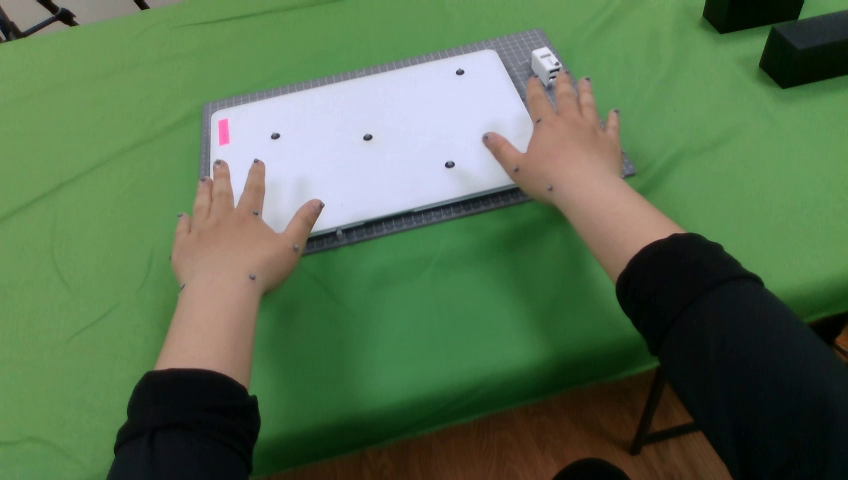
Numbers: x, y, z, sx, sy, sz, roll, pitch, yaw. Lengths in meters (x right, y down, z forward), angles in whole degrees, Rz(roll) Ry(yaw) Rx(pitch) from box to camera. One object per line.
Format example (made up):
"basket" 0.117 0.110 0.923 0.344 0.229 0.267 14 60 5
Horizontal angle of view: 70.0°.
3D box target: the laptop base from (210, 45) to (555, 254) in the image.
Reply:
"laptop base" -0.060 -0.109 0.672 0.354 0.023 0.233 -14 52 -3

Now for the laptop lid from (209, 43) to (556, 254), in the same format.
"laptop lid" -0.061 -0.114 0.662 0.357 0.013 0.239 -13 51 -2

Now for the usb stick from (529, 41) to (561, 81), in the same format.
"usb stick" 0.142 -0.217 0.723 0.021 0.027 0.058 -18 46 -5
